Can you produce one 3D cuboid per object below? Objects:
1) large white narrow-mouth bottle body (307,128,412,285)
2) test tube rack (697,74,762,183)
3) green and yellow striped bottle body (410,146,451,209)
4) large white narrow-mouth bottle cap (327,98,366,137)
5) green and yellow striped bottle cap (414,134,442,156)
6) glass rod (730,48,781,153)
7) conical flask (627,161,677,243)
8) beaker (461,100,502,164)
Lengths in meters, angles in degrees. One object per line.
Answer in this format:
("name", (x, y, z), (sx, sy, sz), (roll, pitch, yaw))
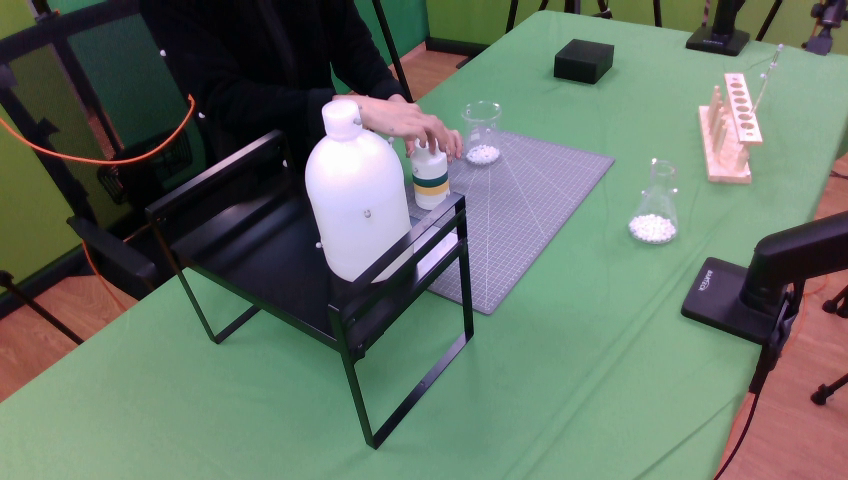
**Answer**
("large white narrow-mouth bottle body", (-0.070, -0.051, 0.638), (0.102, 0.195, 0.101), (-3, 40, 3))
("test tube rack", (0.547, -0.208, 1.095), (0.066, 0.085, 0.242), (5, 42, 15))
("green and yellow striped bottle body", (0.010, -0.117, 1.032), (0.063, 0.120, 0.063), (-4, 40, 4))
("large white narrow-mouth bottle cap", (-0.075, -0.118, 0.582), (0.038, 0.024, 0.037), (-3, 40, 3))
("green and yellow striped bottle cap", (0.006, -0.157, 0.999), (0.045, 0.020, 0.045), (-4, 42, 4))
("glass rod", (0.554, -0.228, 1.015), (0.008, 0.200, 0.008), (1, 44, -1))
("conical flask", (0.355, -0.061, 0.921), (0.075, 0.122, 0.075), (-4, 41, 4))
("beaker", (0.111, -0.200, 1.132), (0.084, 0.100, 0.073), (-27, 45, -22))
